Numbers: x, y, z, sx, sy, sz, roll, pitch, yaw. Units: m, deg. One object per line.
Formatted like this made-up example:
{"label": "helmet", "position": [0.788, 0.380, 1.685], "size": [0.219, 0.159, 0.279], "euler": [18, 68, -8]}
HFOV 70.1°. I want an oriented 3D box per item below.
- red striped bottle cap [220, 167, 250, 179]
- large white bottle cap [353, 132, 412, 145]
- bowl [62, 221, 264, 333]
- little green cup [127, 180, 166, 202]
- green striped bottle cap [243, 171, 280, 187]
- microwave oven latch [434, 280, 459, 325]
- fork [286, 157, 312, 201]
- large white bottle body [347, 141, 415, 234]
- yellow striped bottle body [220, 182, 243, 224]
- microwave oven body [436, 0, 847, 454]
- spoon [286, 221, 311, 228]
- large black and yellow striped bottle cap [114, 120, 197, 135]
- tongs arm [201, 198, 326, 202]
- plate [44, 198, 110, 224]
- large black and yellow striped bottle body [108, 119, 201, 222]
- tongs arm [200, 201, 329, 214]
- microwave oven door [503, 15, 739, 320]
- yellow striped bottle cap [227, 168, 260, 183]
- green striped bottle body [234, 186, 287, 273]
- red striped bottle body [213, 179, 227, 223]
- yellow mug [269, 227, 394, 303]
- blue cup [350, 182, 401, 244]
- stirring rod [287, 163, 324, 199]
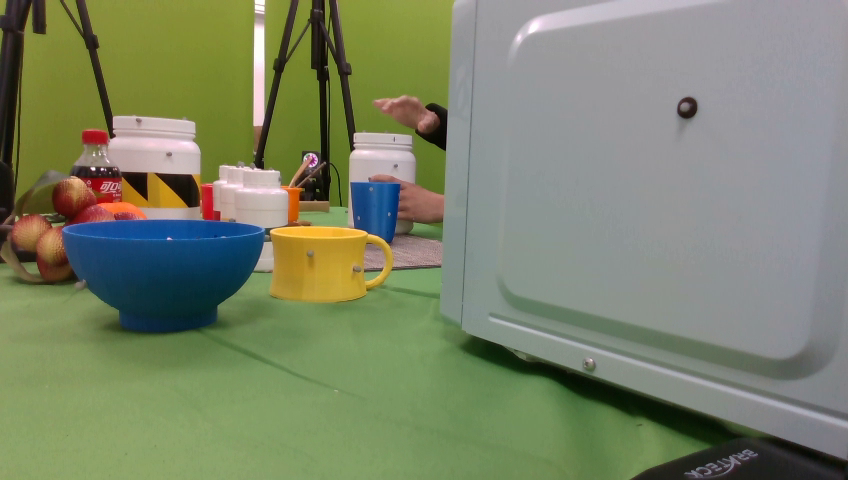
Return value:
{"label": "red striped bottle cap", "position": [-0.281, -0.100, 0.901], "size": [0.044, 0.017, 0.044], "euler": [-1, 5, 0]}
{"label": "large white bottle cap", "position": [-0.079, -0.195, 1.162], "size": [0.115, 0.018, 0.115], "euler": [2, 7, 0]}
{"label": "bowl", "position": [-0.209, 0.029, 0.496], "size": [0.151, 0.077, 0.151], "euler": [2, 6, 0]}
{"label": "little green cup", "position": [-0.485, -0.086, 1.061], "size": [0.061, 0.038, 0.061], "euler": [1, 7, 0]}
{"label": "green striped bottle cap", "position": [-0.198, -0.074, 0.736], "size": [0.044, 0.020, 0.044], "euler": [1, 7, 0]}
{"label": "microwave oven latch", "position": [0.044, 0.045, 0.470], "size": [0.079, 0.029, 0.030], "euler": [-2, 8, -39]}
{"label": "fork", "position": [-0.289, -0.116, 1.321], "size": [0.028, 0.019, 0.207], "euler": [6, 51, 19]}
{"label": "large white bottle body", "position": [-0.082, -0.110, 1.173], "size": [0.131, 0.184, 0.130], "euler": [2, 8, 0]}
{"label": "yellow striped bottle body", "position": [-0.246, -0.036, 0.825], "size": [0.063, 0.120, 0.063], "euler": [3, 8, 0]}
{"label": "microwave oven body", "position": [0.279, -0.040, 0.465], "size": [0.444, 0.260, 0.324], "euler": [-3, 9, -41]}
{"label": "spoon", "position": [-0.232, -0.027, 1.116], "size": [0.041, 0.021, 0.193], "euler": [-22, 6, 4]}
{"label": "large black and yellow striped bottle cap", "position": [-0.407, -0.171, 0.920], "size": [0.115, 0.019, 0.115], "euler": [2, 9, 0]}
{"label": "tongs arm", "position": [-0.433, -0.090, 1.508], "size": [0.390, 0.028, 0.028], "euler": [-1, 2, -29]}
{"label": "plate", "position": [-0.617, -0.056, 1.179], "size": [0.209, 0.038, 0.209], "euler": [3, 7, 0]}
{"label": "large black and yellow striped bottle body", "position": [-0.412, -0.088, 0.930], "size": [0.131, 0.184, 0.130], "euler": [3, 7, 0]}
{"label": "tongs arm", "position": [-0.378, -0.079, 1.440], "size": [0.387, 0.026, 0.050], "euler": [-4, 8, -44]}
{"label": "microwave oven door", "position": [0.218, -0.065, 0.600], "size": [0.358, 0.243, 0.039], "euler": [-4, 10, -41]}
{"label": "yellow striped bottle cap", "position": [-0.243, -0.087, 0.818], "size": [0.044, 0.018, 0.044], "euler": [3, 6, 0]}
{"label": "green striped bottle body", "position": [-0.200, -0.023, 0.743], "size": [0.063, 0.119, 0.063], "euler": [2, 7, 0]}
{"label": "red striped bottle body", "position": [-0.284, -0.048, 0.909], "size": [0.063, 0.119, 0.063], "euler": [3, 12, 0]}
{"label": "yellow mug", "position": [-0.094, 0.023, 0.629], "size": [0.131, 0.064, 0.099], "euler": [0, 7, -22]}
{"label": "blue cup", "position": [-0.082, -0.046, 1.009], "size": [0.093, 0.100, 0.092], "euler": [1, 6, 0]}
{"label": "stirring rod", "position": [-0.278, -0.105, 1.293], "size": [0.176, 0.006, 0.014], "euler": [-47, 25, -18]}
